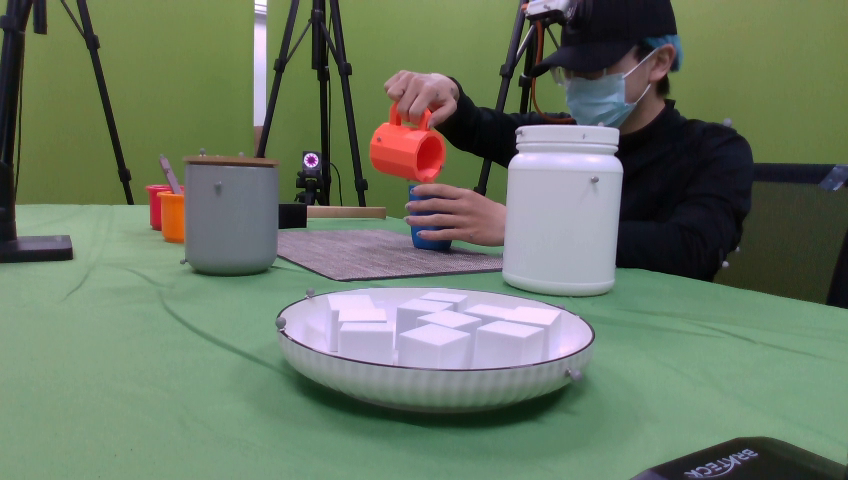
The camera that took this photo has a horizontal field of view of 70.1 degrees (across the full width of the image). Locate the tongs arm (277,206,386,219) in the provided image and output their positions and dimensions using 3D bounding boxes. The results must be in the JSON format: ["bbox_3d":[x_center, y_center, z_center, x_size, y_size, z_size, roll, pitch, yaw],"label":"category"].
[{"bbox_3d":[-0.252,-0.062,1.360,0.387,0.026,0.050,-1,3,-31],"label":"tongs arm"}]

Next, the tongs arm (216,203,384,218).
[{"bbox_3d":[-0.289,-0.069,1.435,0.389,0.027,0.028,1,-1,-18],"label":"tongs arm"}]

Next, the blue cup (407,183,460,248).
[{"bbox_3d":[0.014,-0.040,0.972,0.093,0.100,0.092,2,5,0],"label":"blue cup"}]

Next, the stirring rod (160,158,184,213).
[{"bbox_3d":[-0.391,-0.070,0.972,0.014,0.006,0.175,-1,50,-48],"label":"stirring rod"}]

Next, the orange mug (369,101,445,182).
[{"bbox_3d":[-0.026,-0.163,0.995,0.100,0.126,0.084,22,26,32],"label":"orange mug"}]

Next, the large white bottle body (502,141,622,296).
[{"bbox_3d":[0.161,-0.037,0.706,0.131,0.184,0.130,2,7,0],"label":"large white bottle body"}]

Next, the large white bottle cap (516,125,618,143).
[{"bbox_3d":[0.163,-0.120,0.695,0.115,0.018,0.115,2,8,0],"label":"large white bottle cap"}]

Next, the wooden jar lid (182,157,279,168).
[{"bbox_3d":[-0.227,-0.086,0.714,0.108,0.020,0.108,1,6,0],"label":"wooden jar lid"}]

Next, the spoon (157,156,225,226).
[{"bbox_3d":[-0.425,-0.094,1.118,0.041,0.022,0.194,4,51,29],"label":"spoon"}]

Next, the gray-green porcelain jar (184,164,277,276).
[{"bbox_3d":[-0.230,-0.025,0.722,0.106,0.126,0.106,3,7,0],"label":"gray-green porcelain jar"}]

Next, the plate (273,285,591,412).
[{"bbox_3d":[0.004,0.069,0.408,0.208,0.039,0.207,2,7,0],"label":"plate"}]
